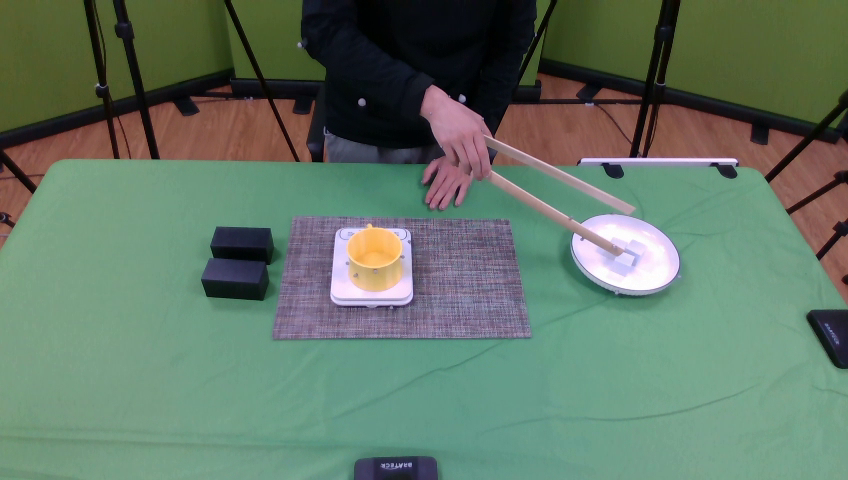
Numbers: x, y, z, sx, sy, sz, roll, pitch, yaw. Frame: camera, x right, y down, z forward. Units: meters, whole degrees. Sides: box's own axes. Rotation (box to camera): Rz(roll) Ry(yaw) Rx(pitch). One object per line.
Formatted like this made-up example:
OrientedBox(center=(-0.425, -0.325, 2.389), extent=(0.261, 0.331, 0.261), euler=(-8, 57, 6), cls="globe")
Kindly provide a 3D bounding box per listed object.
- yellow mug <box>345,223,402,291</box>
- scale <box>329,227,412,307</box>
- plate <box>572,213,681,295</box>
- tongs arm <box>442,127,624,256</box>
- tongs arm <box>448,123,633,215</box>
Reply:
OrientedBox(center=(-0.092, 0.022, 1.093), extent=(0.100, 0.064, 0.130), euler=(-8, 46, -10), cls="yellow mug")
OrientedBox(center=(-0.099, 0.042, 1.139), extent=(0.149, 0.032, 0.199), euler=(1, 46, -4), cls="scale")
OrientedBox(center=(0.393, 0.030, 1.189), extent=(0.208, 0.039, 0.206), euler=(2, 46, -2), cls="plate")
OrientedBox(center=(0.199, -0.087, 1.100), extent=(0.385, 0.026, 0.050), euler=(29, 58, -5), cls="tongs arm")
OrientedBox(center=(0.219, -0.130, 1.132), extent=(0.388, 0.028, 0.028), euler=(24, 62, -8), cls="tongs arm")
